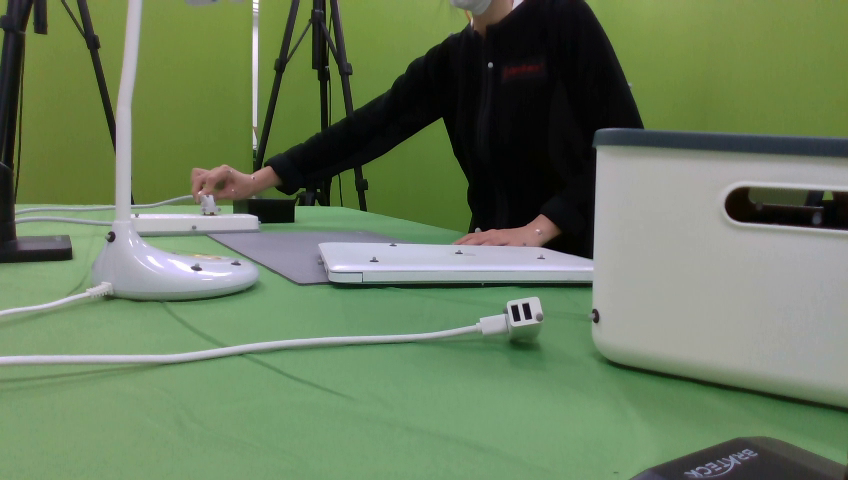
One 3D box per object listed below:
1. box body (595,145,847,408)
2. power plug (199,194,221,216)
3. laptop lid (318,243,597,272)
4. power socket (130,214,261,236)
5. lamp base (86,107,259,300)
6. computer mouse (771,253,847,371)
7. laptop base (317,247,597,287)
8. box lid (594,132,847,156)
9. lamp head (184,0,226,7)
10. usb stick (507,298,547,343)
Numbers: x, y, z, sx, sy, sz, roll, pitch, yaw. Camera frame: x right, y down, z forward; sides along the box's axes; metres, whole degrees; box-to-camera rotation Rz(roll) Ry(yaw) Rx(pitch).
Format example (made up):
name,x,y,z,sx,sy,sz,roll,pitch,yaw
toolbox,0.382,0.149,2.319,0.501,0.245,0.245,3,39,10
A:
name,x,y,z,sx,sy,sz,roll,pitch,yaw
box body,0.309,0.007,0.510,0.253,0.160,0.366,6,8,29
power plug,-0.386,-0.056,1.090,0.035,0.052,0.072,-2,6,-22
laptop lid,0.046,0.022,0.789,0.358,0.013,0.241,1,6,-12
power socket,-0.397,-0.028,1.048,0.228,0.032,0.072,-3,8,-35
lamp base,-0.254,-0.039,0.603,0.160,0.180,0.179,5,10,18
computer mouse,0.344,0.057,0.518,0.063,0.041,0.117,13,48,3
laptop base,0.046,0.034,0.789,0.355,0.023,0.235,1,5,-14
box lid,0.310,-0.066,0.499,0.262,0.015,0.373,7,8,29
lamp head,-0.229,-0.320,0.627,0.112,0.112,0.123,6,-35,26
usb stick,0.079,0.065,0.470,0.027,0.021,0.059,-11,-24,4
